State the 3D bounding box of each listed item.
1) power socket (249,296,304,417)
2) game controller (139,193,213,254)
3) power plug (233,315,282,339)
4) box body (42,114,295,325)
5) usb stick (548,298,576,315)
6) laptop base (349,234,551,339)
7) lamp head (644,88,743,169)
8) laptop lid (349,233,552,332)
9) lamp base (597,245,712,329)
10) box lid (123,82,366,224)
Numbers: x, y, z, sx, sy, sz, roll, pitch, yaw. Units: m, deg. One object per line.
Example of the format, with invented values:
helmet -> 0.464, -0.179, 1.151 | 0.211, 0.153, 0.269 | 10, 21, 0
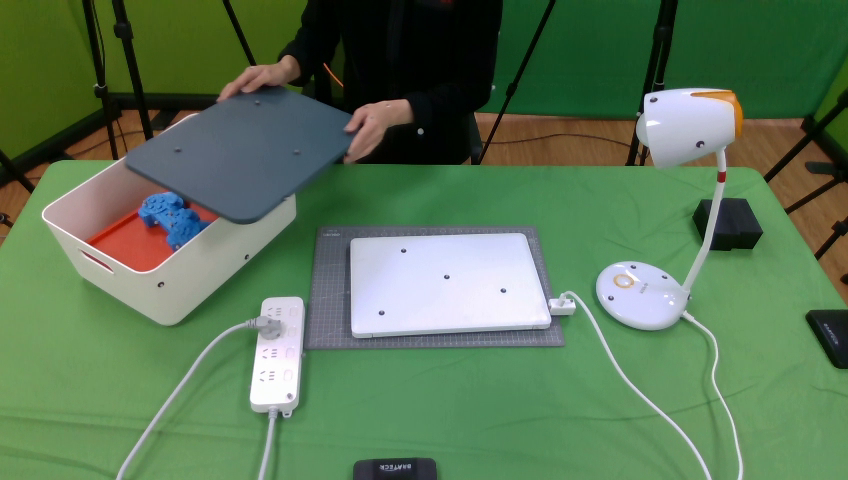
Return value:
power socket -> -0.239, 0.182, 0.996 | 0.072, 0.033, 0.225 | -2, 47, -5
game controller -> -0.436, -0.038, 1.081 | 0.154, 0.052, 0.097 | 36, 58, 27
power plug -> -0.271, 0.144, 0.999 | 0.072, 0.053, 0.035 | 6, 47, 3
box body -> -0.437, -0.046, 1.110 | 0.253, 0.161, 0.363 | 24, 49, 19
usb stick -> 0.240, 0.120, 1.086 | 0.059, 0.027, 0.021 | -2, 51, -2
laptop base -> 0.040, 0.080, 1.125 | 0.355, 0.023, 0.234 | -2, 43, -6
lamp head -> 0.380, -0.161, 0.851 | 0.122, 0.113, 0.112 | -4, 42, 25
laptop lid -> 0.040, 0.071, 1.118 | 0.357, 0.013, 0.240 | -1, 44, -5
lamp base -> 0.418, 0.051, 1.071 | 0.179, 0.181, 0.160 | 22, 49, 13
box lid -> -0.298, -0.168, 1.062 | 0.262, 0.015, 0.370 | 25, 43, 15
